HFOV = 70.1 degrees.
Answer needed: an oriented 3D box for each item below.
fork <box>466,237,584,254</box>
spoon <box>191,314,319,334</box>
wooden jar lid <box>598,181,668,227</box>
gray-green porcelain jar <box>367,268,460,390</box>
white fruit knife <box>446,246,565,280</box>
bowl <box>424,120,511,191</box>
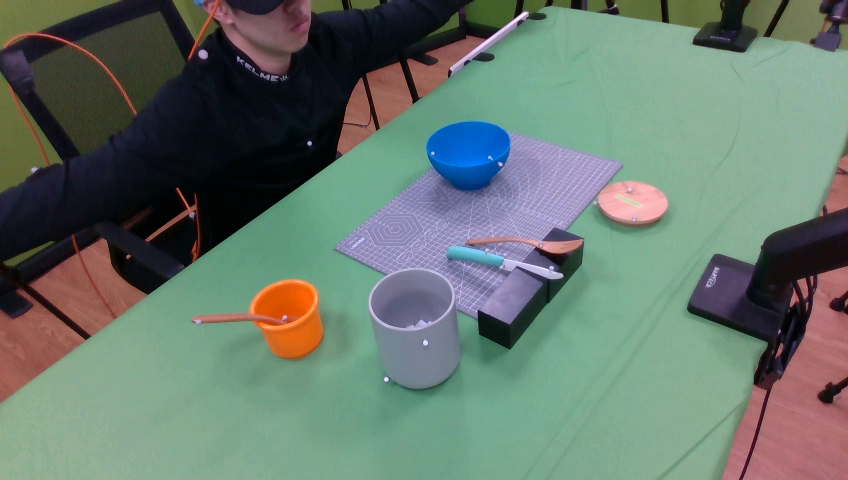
[{"bbox_3d":[0.142,0.005,0.894,0.205,0.019,0.028,4,43,41],"label":"fork"},{"bbox_3d":[-0.213,0.105,0.781,0.041,0.195,0.021,29,97,37],"label":"spoon"},{"bbox_3d":[0.340,-0.058,0.988,0.108,0.021,0.108,-5,41,5],"label":"wooden jar lid"},{"bbox_3d":[-0.009,0.116,0.754,0.106,0.127,0.105,-4,41,4],"label":"gray-green porcelain jar"},{"bbox_3d":[0.111,0.033,0.868,0.205,0.027,0.016,11,44,40],"label":"white fruit knife"},{"bbox_3d":[0.080,-0.141,1.074,0.151,0.077,0.150,-4,41,4],"label":"bowl"}]
